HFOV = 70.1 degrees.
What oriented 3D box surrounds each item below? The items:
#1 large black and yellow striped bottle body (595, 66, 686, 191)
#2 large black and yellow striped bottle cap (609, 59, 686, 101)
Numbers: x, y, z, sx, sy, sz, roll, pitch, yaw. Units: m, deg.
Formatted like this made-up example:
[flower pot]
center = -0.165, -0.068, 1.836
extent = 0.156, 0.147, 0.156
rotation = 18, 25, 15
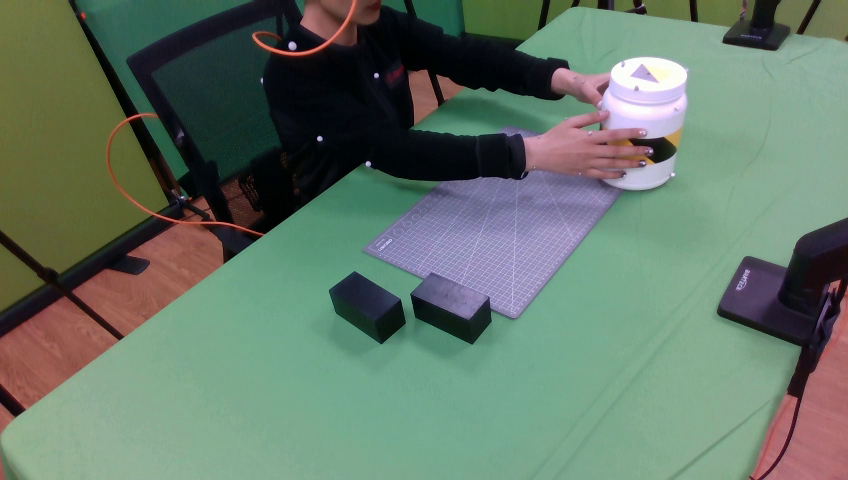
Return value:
[large black and yellow striped bottle body]
center = 0.360, -0.190, 1.009
extent = 0.131, 0.185, 0.130
rotation = -4, 41, 4
[large black and yellow striped bottle cap]
center = 0.352, -0.254, 0.955
extent = 0.115, 0.019, 0.114
rotation = -2, 41, 3
